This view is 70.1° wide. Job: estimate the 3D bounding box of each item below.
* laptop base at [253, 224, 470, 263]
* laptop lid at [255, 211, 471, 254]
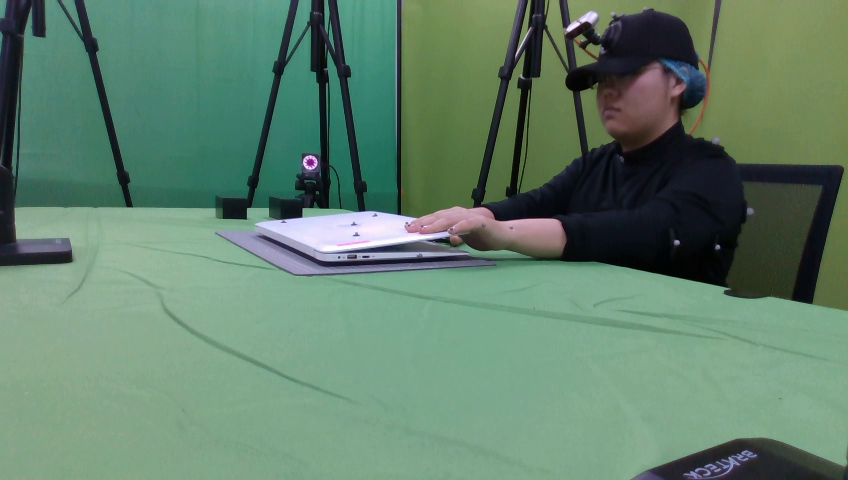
[{"bbox_3d":[-0.116,0.005,0.971,0.237,0.023,0.352,2,6,-31],"label":"laptop base"},{"bbox_3d":[-0.114,-0.020,0.969,0.243,0.013,0.355,-7,11,-27],"label":"laptop lid"}]
